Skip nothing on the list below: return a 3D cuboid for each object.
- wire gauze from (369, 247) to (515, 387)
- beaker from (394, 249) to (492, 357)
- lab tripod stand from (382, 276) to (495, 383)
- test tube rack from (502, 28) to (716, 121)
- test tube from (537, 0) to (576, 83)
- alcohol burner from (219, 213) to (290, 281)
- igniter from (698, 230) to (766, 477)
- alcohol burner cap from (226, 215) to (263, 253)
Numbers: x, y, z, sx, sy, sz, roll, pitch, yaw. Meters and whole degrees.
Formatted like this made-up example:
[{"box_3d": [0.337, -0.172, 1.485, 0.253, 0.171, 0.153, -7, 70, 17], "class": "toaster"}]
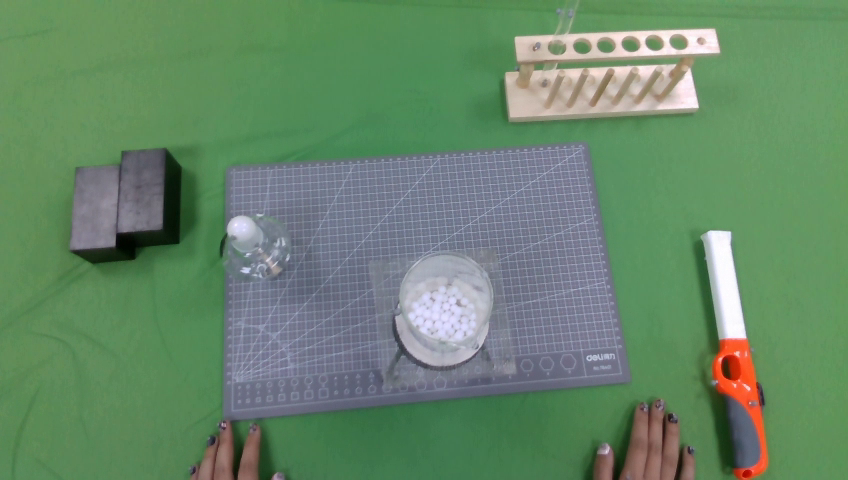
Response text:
[{"box_3d": [0.015, 0.070, 0.563, 0.125, 0.011, 0.120, -7, 71, -1], "class": "wire gauze"}, {"box_3d": [0.017, 0.061, 0.515, 0.074, 0.101, 0.083, -27, 74, -9], "class": "beaker"}, {"box_3d": [0.011, 0.093, 0.624, 0.148, 0.132, 0.147, 0, 72, 0], "class": "lab tripod stand"}, {"box_3d": [0.225, -0.203, 0.751, 0.242, 0.085, 0.066, -3, 73, -3], "class": "test tube rack"}, {"box_3d": [0.153, -0.233, 0.706, 0.017, 0.151, 0.017, 1, 68, -1], "class": "test tube"}, {"box_3d": [-0.188, 0.002, 0.656, 0.078, 0.120, 0.077, 0, 70, 0], "class": "alcohol burner"}, {"box_3d": [0.347, 0.121, 0.685, 0.057, 0.025, 0.275, 3, 73, -11], "class": "igniter"}, {"box_3d": [-0.186, -0.008, 0.622, 0.034, 0.048, 0.033, 1, 74, -5], "class": "alcohol burner cap"}]
